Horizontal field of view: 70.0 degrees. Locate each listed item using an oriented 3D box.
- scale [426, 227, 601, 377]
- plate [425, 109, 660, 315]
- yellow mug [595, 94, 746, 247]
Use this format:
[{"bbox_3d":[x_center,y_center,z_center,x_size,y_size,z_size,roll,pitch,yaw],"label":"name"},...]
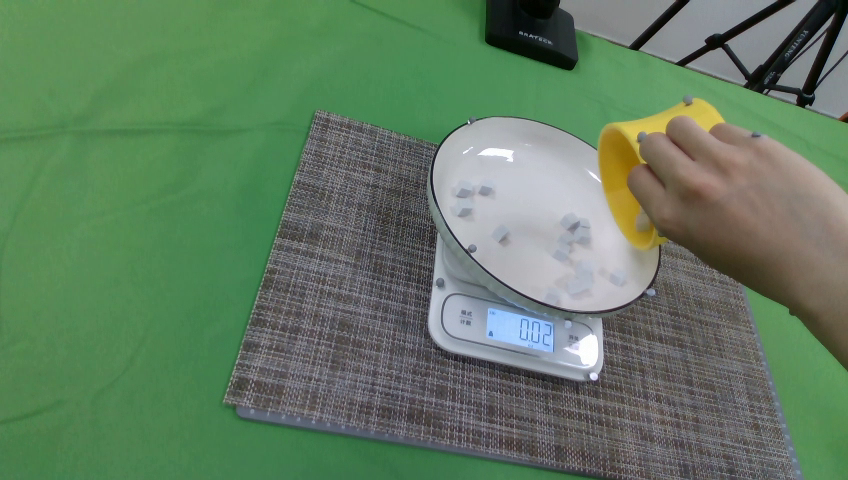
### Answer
[{"bbox_3d":[0.081,0.012,0.523,0.149,0.032,0.199,15,51,-11],"label":"scale"},{"bbox_3d":[0.098,-0.025,0.513,0.210,0.038,0.207,11,52,-14],"label":"plate"},{"bbox_3d":[0.179,-0.051,0.437,0.064,0.130,0.100,-18,91,-1],"label":"yellow mug"}]
